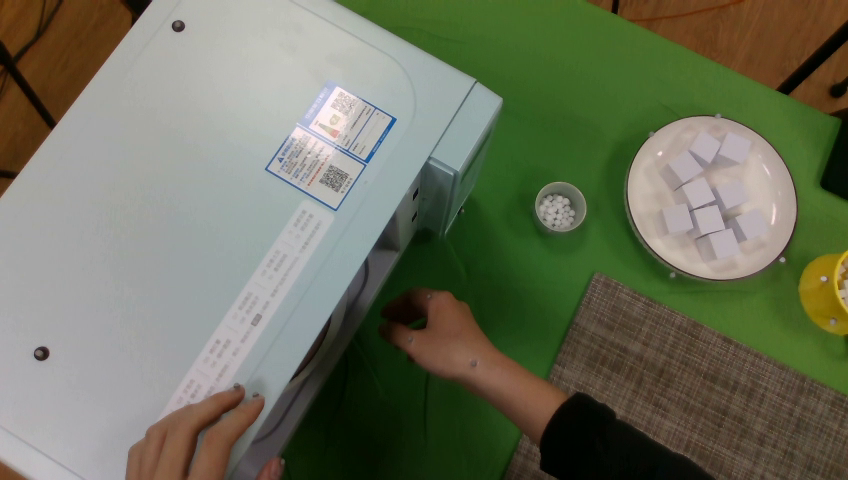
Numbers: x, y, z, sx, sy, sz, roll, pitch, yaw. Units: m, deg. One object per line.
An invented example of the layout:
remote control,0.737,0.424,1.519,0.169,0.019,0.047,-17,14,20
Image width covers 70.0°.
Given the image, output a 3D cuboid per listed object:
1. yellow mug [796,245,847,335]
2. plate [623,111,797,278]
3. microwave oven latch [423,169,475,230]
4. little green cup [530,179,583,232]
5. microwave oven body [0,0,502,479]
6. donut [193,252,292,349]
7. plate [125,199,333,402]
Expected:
yellow mug,0.505,0.069,0.705,0.100,0.064,0.130,-10,79,-4
plate,0.342,-0.054,0.738,0.208,0.039,0.206,1,78,-2
microwave oven latch,0.029,-0.053,0.707,0.030,0.029,0.079,33,80,4
little green cup,0.156,-0.039,0.727,0.061,0.039,0.061,0,80,-2
microwave oven body,-0.185,0.004,0.588,0.325,0.261,0.440,30,79,4
donut,-0.183,0.061,0.614,0.099,0.048,0.098,0,81,-3
plate,-0.198,0.062,0.630,0.209,0.038,0.208,1,77,-2
